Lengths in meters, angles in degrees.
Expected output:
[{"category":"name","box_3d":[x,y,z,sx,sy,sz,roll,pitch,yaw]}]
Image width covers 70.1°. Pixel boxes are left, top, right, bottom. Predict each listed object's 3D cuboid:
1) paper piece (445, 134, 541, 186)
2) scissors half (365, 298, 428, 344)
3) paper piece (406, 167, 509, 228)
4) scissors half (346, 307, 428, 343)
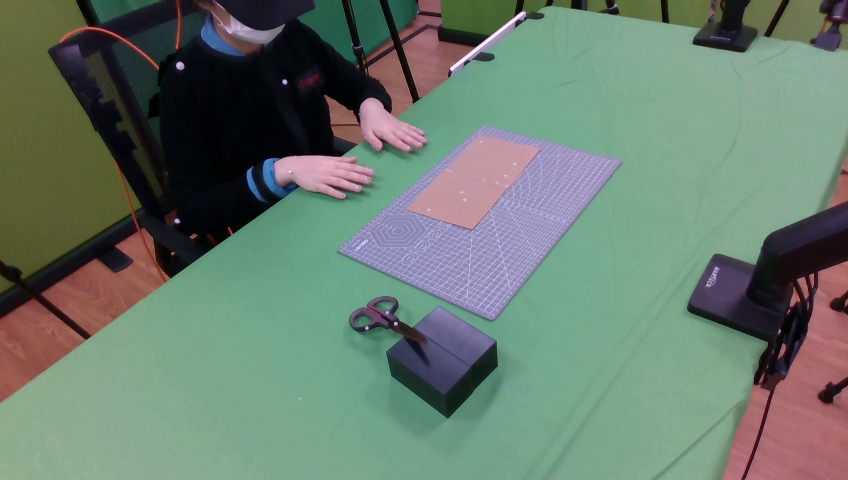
[{"category":"paper piece","box_3d":[0.130,-0.154,1.137,0.135,0.009,0.138,22,48,25]},{"category":"scissors half","box_3d":[-0.035,0.107,0.808,0.040,0.013,0.174,-27,23,-17]},{"category":"paper piece","box_3d":[0.059,-0.077,1.055,0.134,0.004,0.136,20,48,27]},{"category":"scissors half","box_3d":[-0.051,0.115,0.799,0.040,0.013,0.174,-30,23,-36]}]
